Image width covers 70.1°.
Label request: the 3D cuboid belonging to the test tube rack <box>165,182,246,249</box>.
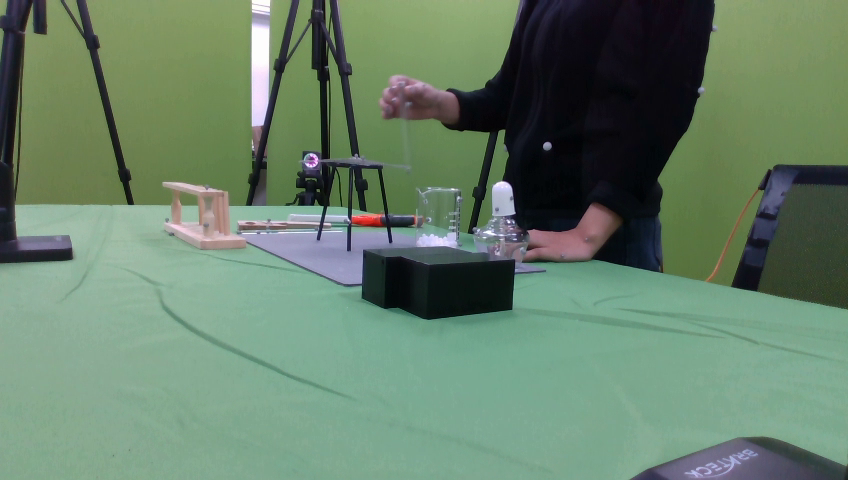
[{"bbox_3d":[-0.360,-0.045,0.982,0.067,0.085,0.241,-3,9,-34],"label":"test tube rack"}]

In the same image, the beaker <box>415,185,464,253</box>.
[{"bbox_3d":[0.020,-0.033,0.938,0.073,0.100,0.084,7,9,35],"label":"beaker"}]

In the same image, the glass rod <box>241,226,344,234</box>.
[{"bbox_3d":[-0.239,-0.019,1.119,0.201,0.008,0.008,-3,9,-34],"label":"glass rod"}]

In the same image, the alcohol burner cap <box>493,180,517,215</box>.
[{"bbox_3d":[0.107,-0.057,0.813,0.034,0.048,0.034,-6,11,2],"label":"alcohol burner cap"}]

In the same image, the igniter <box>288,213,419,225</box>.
[{"bbox_3d":[-0.145,-0.044,1.278,0.278,0.025,0.057,0,-2,-21],"label":"igniter"}]

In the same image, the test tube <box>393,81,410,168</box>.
[{"bbox_3d":[-0.039,-0.199,1.049,0.017,0.150,0.017,-5,8,1],"label":"test tube"}]

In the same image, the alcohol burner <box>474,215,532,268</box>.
[{"bbox_3d":[0.107,-0.022,0.819,0.078,0.119,0.078,1,9,0],"label":"alcohol burner"}]

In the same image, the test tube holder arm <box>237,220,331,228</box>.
[{"bbox_3d":[-0.260,-0.029,1.140,0.179,0.015,0.013,-2,41,-32],"label":"test tube holder arm"}]

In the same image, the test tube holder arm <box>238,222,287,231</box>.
[{"bbox_3d":[-0.296,-0.024,1.113,0.088,0.015,0.010,-2,41,-32],"label":"test tube holder arm"}]

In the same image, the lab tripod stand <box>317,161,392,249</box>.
[{"bbox_3d":[-0.111,-0.059,0.963,0.148,0.131,0.148,4,8,0],"label":"lab tripod stand"}]

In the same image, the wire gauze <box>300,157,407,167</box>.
[{"bbox_3d":[-0.112,-0.125,0.957,0.121,0.011,0.126,11,11,42],"label":"wire gauze"}]
